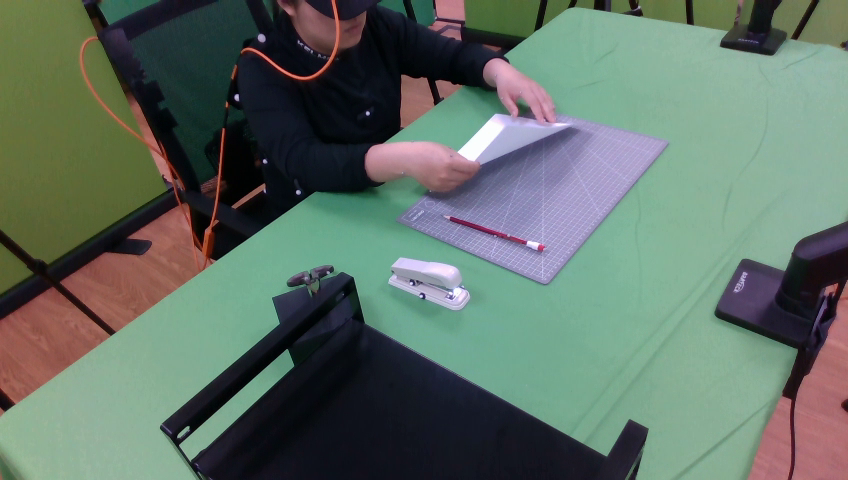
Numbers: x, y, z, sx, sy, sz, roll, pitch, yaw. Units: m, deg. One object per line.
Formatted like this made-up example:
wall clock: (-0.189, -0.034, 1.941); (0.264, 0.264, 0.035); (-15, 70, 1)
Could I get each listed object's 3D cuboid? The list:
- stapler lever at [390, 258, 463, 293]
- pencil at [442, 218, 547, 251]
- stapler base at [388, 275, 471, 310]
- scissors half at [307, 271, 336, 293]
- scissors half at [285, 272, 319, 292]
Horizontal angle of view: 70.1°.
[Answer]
stapler lever: (0.003, 0.046, 0.881); (0.117, 0.040, 0.027); (17, 44, 29)
pencil: (0.110, -0.012, 0.980); (0.192, 0.012, 0.012); (18, 46, 30)
stapler base: (0.007, 0.066, 0.897); (0.129, 0.024, 0.041); (17, 43, 29)
scissors half: (-0.152, 0.061, 0.872); (0.040, 0.013, 0.175); (-3, 6, -4)
scissors half: (-0.171, 0.063, 0.868); (0.040, 0.013, 0.174); (-11, 7, -21)
